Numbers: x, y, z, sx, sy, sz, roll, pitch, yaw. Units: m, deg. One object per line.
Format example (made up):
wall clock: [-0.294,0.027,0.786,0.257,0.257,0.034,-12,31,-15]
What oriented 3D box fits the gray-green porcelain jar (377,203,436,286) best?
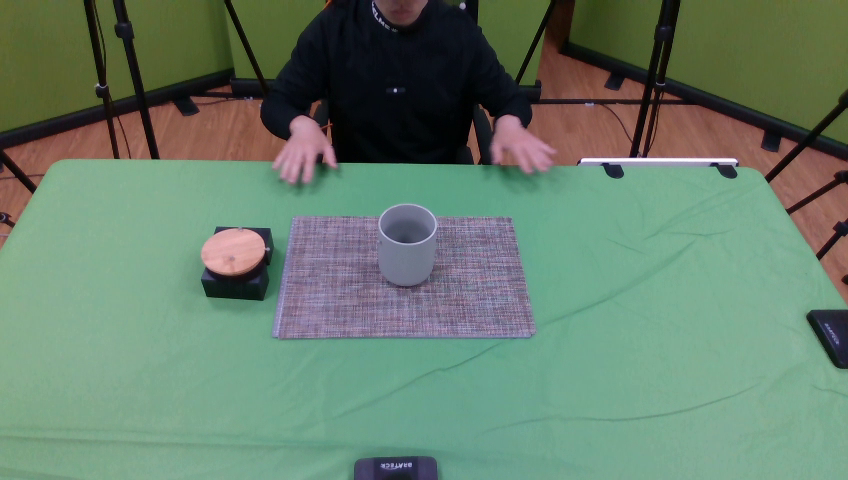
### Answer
gray-green porcelain jar: [-0.033,0.014,1.106,0.106,0.127,0.105,2,46,-2]

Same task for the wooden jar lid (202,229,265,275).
wooden jar lid: [-0.340,0.023,1.084,0.108,0.021,0.107,3,45,-2]
